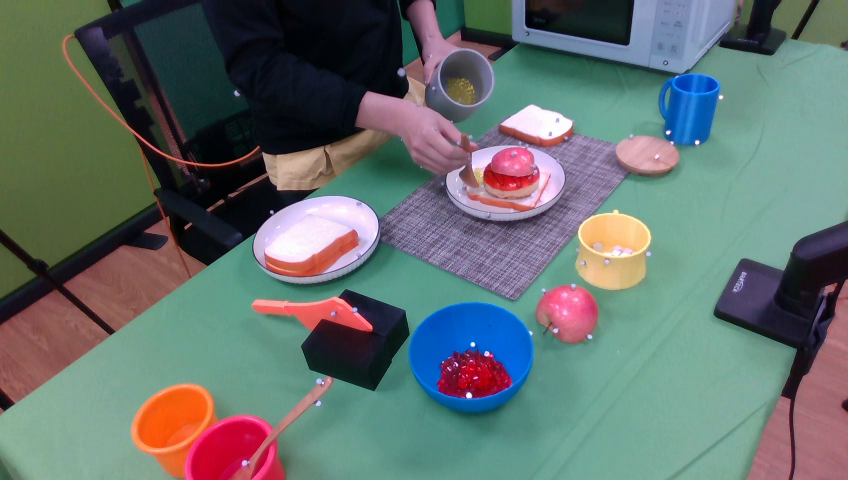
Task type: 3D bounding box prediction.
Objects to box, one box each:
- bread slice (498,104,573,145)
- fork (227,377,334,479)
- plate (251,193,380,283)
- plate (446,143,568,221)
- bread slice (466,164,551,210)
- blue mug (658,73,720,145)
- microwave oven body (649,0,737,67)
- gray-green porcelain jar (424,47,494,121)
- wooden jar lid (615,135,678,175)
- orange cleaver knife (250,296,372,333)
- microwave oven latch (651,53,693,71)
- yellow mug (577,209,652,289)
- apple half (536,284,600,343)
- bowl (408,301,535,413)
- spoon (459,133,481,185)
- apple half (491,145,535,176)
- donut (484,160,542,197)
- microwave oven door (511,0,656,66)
[{"bbox_3d":[0.231,-0.231,1.205,0.105,0.019,0.130,-36,47,-29],"label":"bread slice"},{"bbox_3d":[-0.163,0.216,0.647,0.207,0.019,0.028,-49,41,16],"label":"fork"},{"bbox_3d":[-0.174,-0.001,0.984,0.209,0.038,0.208,-4,41,4],"label":"plate"},{"bbox_3d":[0.142,-0.097,1.045,0.207,0.039,0.206,-4,40,4],"label":"plate"},{"bbox_3d":[0.141,-0.093,1.042,0.133,0.018,0.107,10,43,19],"label":"bread slice"},{"bbox_3d":[0.483,-0.250,1.127,0.082,0.106,0.115,-25,44,-19],"label":"blue mug"},{"bbox_3d":[0.475,-0.602,1.411,0.438,0.261,0.327,23,50,32],"label":"microwave oven body"},{"bbox_3d":[0.060,-0.282,1.118,0.106,0.106,0.126,-19,1,-14],"label":"gray-green porcelain jar"},{"bbox_3d":[0.398,-0.151,1.086,0.108,0.021,0.108,-2,42,2],"label":"wooden jar lid"},{"bbox_3d":[-0.158,0.103,0.828,0.210,0.078,0.012,-4,43,39],"label":"orange cleaver knife"},{"bbox_3d":[0.532,-0.386,1.301,0.078,0.029,0.030,27,52,34],"label":"microwave oven latch"},{"bbox_3d":[0.279,0.004,0.893,0.099,0.064,0.130,5,41,14],"label":"yellow mug"},{"bbox_3d":[0.196,0.091,0.815,0.075,0.053,0.080,-22,42,-20],"label":"apple half"},{"bbox_3d":[0.059,0.156,0.739,0.151,0.077,0.150,-4,40,4],"label":"bowl"},{"bbox_3d":[0.068,-0.126,0.940,0.041,0.194,0.021,31,78,15],"label":"spoon"},{"bbox_3d":[0.147,-0.138,0.994,0.081,0.033,0.081,0,36,0],"label":"apple half"},{"bbox_3d":[0.149,-0.110,1.016,0.099,0.048,0.098,-4,40,4],"label":"donut"},{"bbox_3d":[0.351,-0.540,1.349,0.353,0.245,0.039,24,50,31],"label":"microwave oven door"}]
